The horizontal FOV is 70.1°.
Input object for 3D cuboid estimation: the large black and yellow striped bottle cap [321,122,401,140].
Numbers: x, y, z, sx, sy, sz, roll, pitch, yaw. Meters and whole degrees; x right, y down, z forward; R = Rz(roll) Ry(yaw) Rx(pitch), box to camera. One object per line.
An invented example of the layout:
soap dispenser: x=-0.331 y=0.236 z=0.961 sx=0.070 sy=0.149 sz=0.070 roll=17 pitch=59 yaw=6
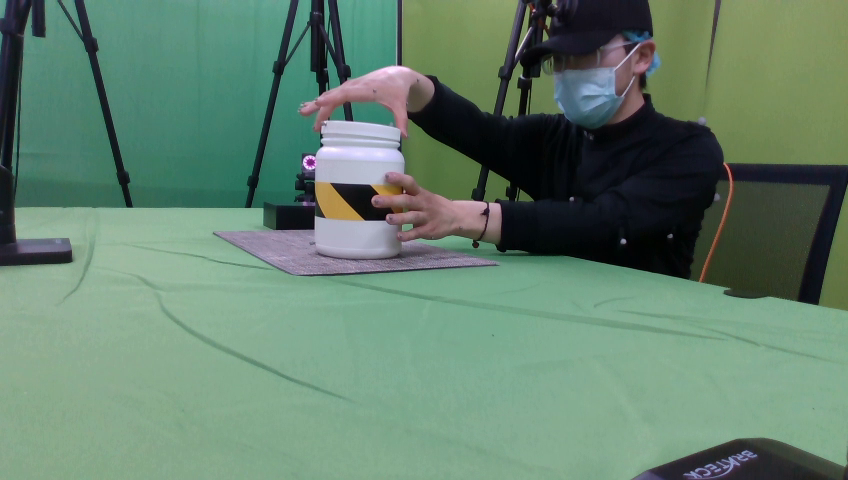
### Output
large black and yellow striped bottle cap: x=-0.091 y=-0.157 z=0.874 sx=0.115 sy=0.019 sz=0.115 roll=3 pitch=6 yaw=0

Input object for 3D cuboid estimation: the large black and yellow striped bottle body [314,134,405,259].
large black and yellow striped bottle body: x=-0.095 y=-0.072 z=0.887 sx=0.131 sy=0.184 sz=0.130 roll=2 pitch=7 yaw=0
